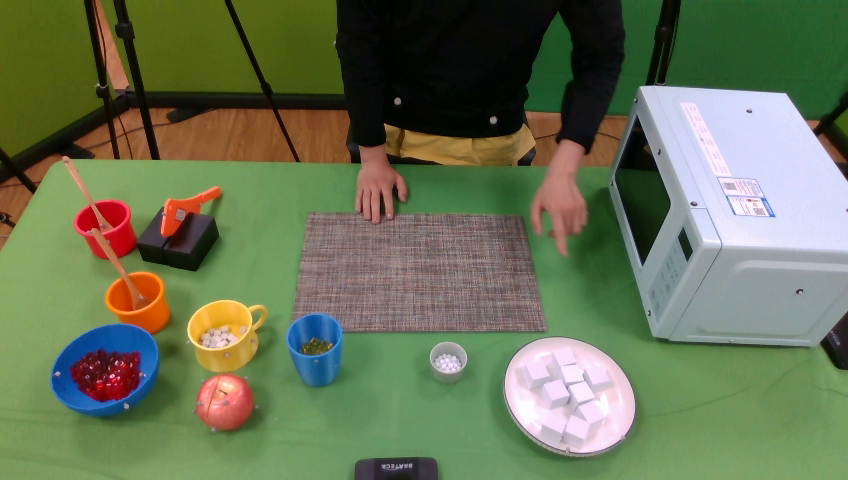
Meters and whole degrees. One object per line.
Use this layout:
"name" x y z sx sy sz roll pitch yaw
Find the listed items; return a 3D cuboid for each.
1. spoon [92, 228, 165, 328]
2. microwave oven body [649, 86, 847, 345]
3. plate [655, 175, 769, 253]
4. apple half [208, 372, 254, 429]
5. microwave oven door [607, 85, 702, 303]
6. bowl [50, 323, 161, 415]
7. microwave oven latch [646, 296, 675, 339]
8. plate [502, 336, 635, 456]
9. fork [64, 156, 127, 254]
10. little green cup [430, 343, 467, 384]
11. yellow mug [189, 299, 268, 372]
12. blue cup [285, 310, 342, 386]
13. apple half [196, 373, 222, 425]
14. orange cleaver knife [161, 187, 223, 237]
"spoon" -0.496 0.063 1.014 0.041 0.194 0.021 -33 12 -31
"microwave oven body" 0.567 -0.053 1.118 0.326 0.261 0.439 2 45 -1
"plate" 0.555 -0.046 1.183 0.209 0.038 0.208 2 46 -2
"apple half" -0.282 0.244 0.908 0.053 0.075 0.080 7 43 -1
"microwave oven door" 0.423 -0.094 1.140 0.039 0.245 0.353 2 46 -1
"bowl" -0.472 0.209 0.924 0.151 0.077 0.150 2 45 -2
"microwave oven latch" 0.412 0.134 1.061 0.030 0.029 0.078 4 45 1
"plate" 0.225 0.248 0.963 0.208 0.039 0.206 2 46 -2
"fork" -0.614 -0.064 1.130 0.028 0.018 0.207 -29 97 -17
"little green cup" 0.039 0.203 0.994 0.061 0.039 0.061 2 46 -2
"yellow mug" -0.315 0.148 1.001 0.131 0.064 0.099 -33 56 -31
"blue cup" -0.170 0.179 0.958 0.093 0.101 0.092 2 44 -1
"apple half" -0.322 0.239 0.907 0.033 0.081 0.081 7 46 -1
"orange cleaver knife" -0.448 -0.058 1.180 0.012 0.077 0.211 13 17 6
